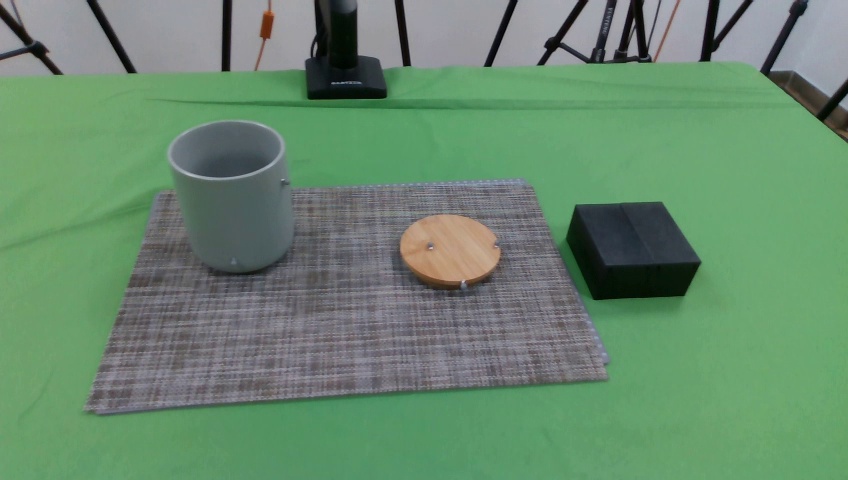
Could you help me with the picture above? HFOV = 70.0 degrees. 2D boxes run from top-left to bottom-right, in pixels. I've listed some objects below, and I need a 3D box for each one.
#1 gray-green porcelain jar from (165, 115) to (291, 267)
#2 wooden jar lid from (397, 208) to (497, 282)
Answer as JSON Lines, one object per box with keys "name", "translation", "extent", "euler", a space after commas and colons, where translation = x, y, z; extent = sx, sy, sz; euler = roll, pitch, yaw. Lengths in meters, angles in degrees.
{"name": "gray-green porcelain jar", "translation": [-0.190, -0.045, 0.607], "extent": [0.106, 0.127, 0.105], "euler": [3, 42, -2]}
{"name": "wooden jar lid", "translation": [0.025, 0.006, 0.652], "extent": [0.108, 0.021, 0.107], "euler": [4, 42, -3]}
